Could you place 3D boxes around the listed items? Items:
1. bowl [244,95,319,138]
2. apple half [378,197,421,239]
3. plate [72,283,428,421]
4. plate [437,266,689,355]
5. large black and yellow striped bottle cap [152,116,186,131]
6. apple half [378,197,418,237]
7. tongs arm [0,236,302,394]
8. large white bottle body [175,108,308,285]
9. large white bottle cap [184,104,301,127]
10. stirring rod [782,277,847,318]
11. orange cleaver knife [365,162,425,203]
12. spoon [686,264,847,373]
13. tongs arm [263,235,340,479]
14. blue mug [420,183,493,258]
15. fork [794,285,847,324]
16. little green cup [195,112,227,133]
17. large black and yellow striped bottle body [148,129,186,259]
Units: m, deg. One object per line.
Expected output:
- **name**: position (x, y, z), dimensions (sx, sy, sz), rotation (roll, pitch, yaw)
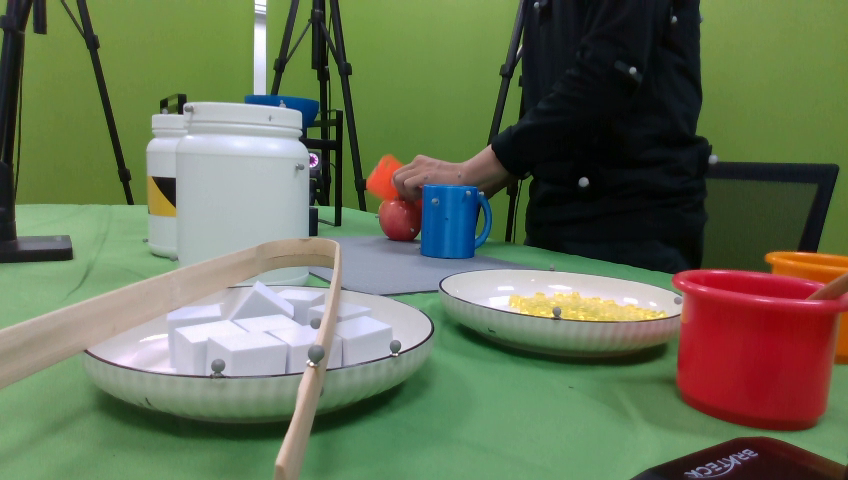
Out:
- **bowl**: position (-0.293, -0.251, 1.249), dimensions (0.151, 0.077, 0.151), rotation (2, 8, 0)
- **apple half**: position (-0.035, -0.036, 1.055), dimensions (0.081, 0.074, 0.053), rotation (4, 12, -24)
- **plate**: position (-0.102, 0.066, 0.381), dimensions (0.208, 0.039, 0.207), rotation (3, 7, 0)
- **plate**: position (0.114, 0.057, 0.517), dimensions (0.209, 0.038, 0.209), rotation (3, 7, 0)
- **large black and yellow striped bottle cap**: position (-0.309, -0.155, 0.826), dimensions (0.115, 0.019, 0.115), rotation (3, 6, 0)
- **apple half**: position (-0.052, -0.043, 1.094), dimensions (0.082, 0.081, 0.032), rotation (-1, 8, -25)
- **tongs arm**: position (-0.158, 0.038, 0.351), dimensions (0.028, 0.028, 0.388), rotation (-3, 8, 12)
- **large white bottle body**: position (-0.188, -0.042, 0.630), dimensions (0.131, 0.184, 0.130), rotation (2, 8, 0)
- **large white bottle cap**: position (-0.184, -0.126, 0.618), dimensions (0.115, 0.018, 0.115), rotation (2, 8, 0)
- **stirring rod**: position (0.344, 0.019, 0.460), dimensions (0.014, 0.006, 0.176), rotation (-13, -27, -30)
- **orange cleaver knife**: position (-0.003, -0.080, 1.092), dimensions (0.212, 0.077, 0.012), rotation (14, 3, -25)
- **spoon**: position (0.214, 0.032, 0.328), dimensions (0.042, 0.021, 0.193), rotation (-3, -35, -26)
- **tongs arm**: position (-0.074, 0.039, 0.349), dimensions (0.051, 0.026, 0.384), rotation (-2, 9, -3)
- **blue mug**: position (0.052, -0.031, 0.912), dimensions (0.117, 0.106, 0.082), rotation (-1, 8, -24)
- **fork**: position (0.332, 0.018, 0.443), dimensions (0.028, 0.018, 0.207), rotation (-1, -36, -15)
- **little green cup**: position (-0.412, -0.227, 1.171), dimensions (0.061, 0.038, 0.061), rotation (3, 8, 0)
- **large black and yellow striped bottle body**: position (-0.310, -0.073, 0.838), dimensions (0.131, 0.184, 0.130), rotation (2, 8, 0)
